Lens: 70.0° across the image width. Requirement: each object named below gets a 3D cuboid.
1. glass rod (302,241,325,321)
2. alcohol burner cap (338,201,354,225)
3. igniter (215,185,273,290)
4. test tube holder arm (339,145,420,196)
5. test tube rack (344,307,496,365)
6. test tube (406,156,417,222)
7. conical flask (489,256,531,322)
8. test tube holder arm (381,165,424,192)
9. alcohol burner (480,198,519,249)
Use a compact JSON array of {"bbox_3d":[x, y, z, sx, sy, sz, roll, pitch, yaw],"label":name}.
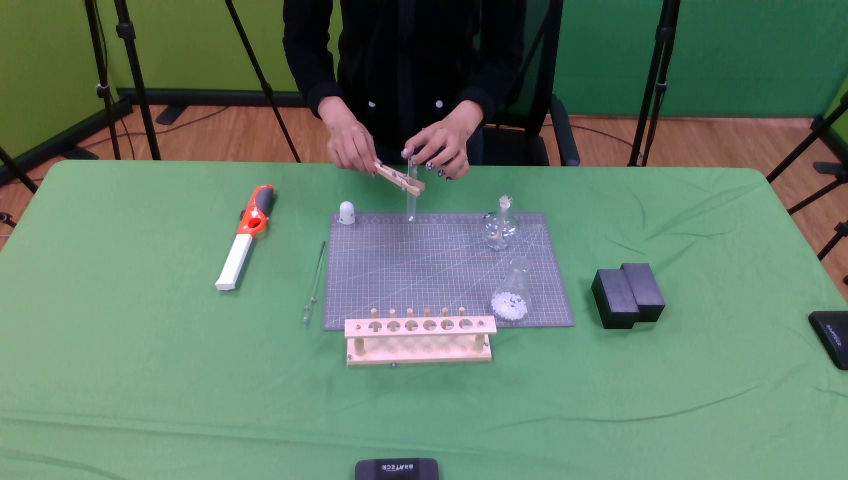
[{"bbox_3d":[-0.203,0.071,1.123,0.008,0.008,0.198,4,44,1],"label":"glass rod"},{"bbox_3d":[-0.159,-0.056,1.224,0.034,0.048,0.033,2,46,-2],"label":"alcohol burner cap"},{"bbox_3d":[-0.347,-0.014,1.182,0.057,0.025,0.275,-1,45,8],"label":"igniter"},{"bbox_3d":[-0.081,-0.124,1.068,0.178,0.015,0.013,30,48,19],"label":"test tube holder arm"},{"bbox_3d":[-0.009,0.154,1.007,0.242,0.085,0.066,-1,46,-5],"label":"test tube rack"},{"bbox_3d":[-0.023,-0.085,1.057,0.017,0.151,0.017,2,49,-2],"label":"test tube"},{"bbox_3d":[0.158,0.081,1.061,0.075,0.122,0.075,2,46,-2],"label":"conical flask"},{"bbox_3d":[-0.040,-0.107,1.057,0.087,0.015,0.010,25,47,15],"label":"test tube holder arm"},{"bbox_3d":[0.150,-0.039,1.182,0.078,0.119,0.077,3,47,-3],"label":"alcohol burner"}]
